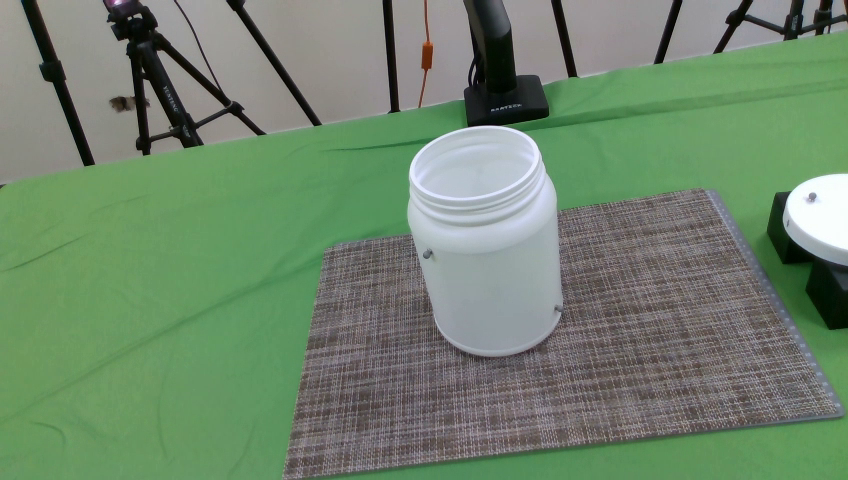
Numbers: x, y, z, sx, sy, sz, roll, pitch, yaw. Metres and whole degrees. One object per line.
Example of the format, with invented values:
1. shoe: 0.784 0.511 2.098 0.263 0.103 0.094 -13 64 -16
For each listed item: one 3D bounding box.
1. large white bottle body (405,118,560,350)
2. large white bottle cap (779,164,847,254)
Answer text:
1. large white bottle body: 0.055 -0.004 0.551 0.130 0.186 0.129 -8 41 7
2. large white bottle cap: 0.384 -0.029 0.540 0.115 0.018 0.113 -8 41 7
